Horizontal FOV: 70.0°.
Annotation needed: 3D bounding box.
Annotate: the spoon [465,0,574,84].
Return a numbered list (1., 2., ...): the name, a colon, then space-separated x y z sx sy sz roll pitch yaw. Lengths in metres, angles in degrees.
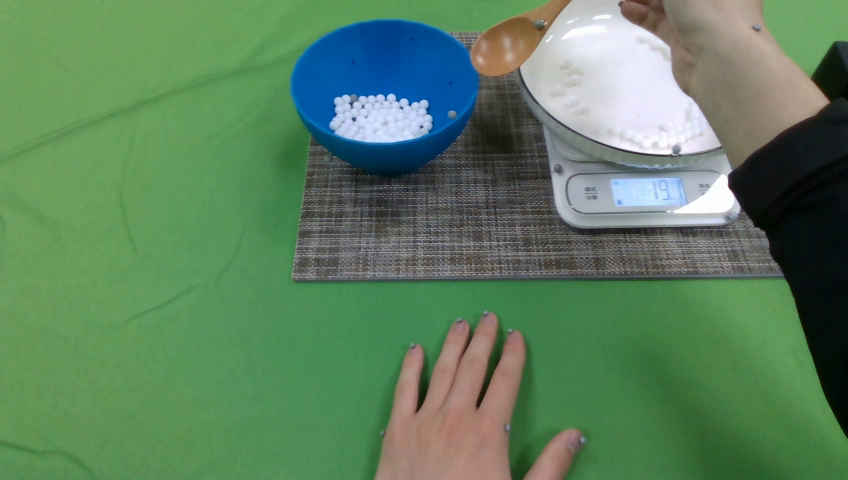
1. spoon: 0.111 -0.178 0.437 0.194 0.022 0.041 -33 71 26

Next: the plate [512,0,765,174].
1. plate: 0.177 -0.131 0.519 0.209 0.038 0.207 0 55 0

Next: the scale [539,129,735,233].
1. scale: 0.177 -0.094 0.532 0.149 0.032 0.199 -1 55 0

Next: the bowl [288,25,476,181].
1. bowl: -0.032 -0.103 0.512 0.151 0.077 0.150 0 55 1
